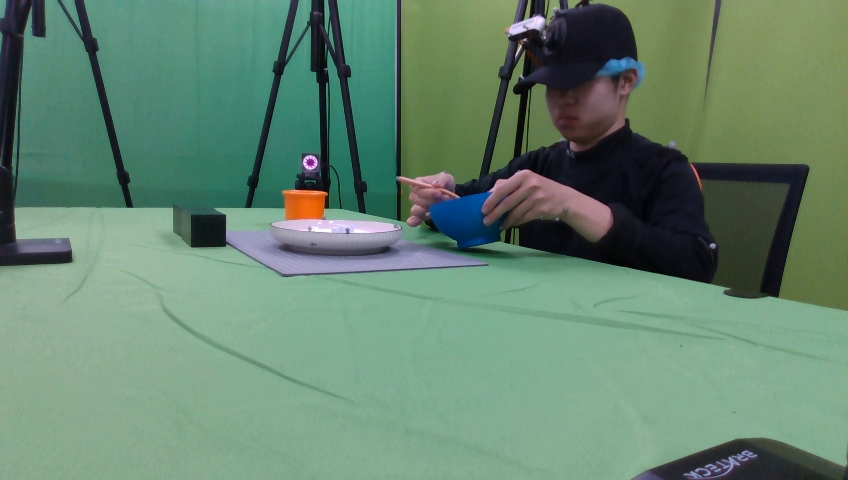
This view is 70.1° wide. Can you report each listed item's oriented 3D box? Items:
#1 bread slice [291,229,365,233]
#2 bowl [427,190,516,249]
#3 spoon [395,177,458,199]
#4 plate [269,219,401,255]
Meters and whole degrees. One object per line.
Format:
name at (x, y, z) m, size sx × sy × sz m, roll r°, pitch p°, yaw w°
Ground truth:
bread slice at (-0.143, -0.003, 0.953) m, size 0.135 × 0.018 × 0.106 m, roll -1°, pitch 8°, yaw -37°
bowl at (0.085, -0.030, 1.012) m, size 0.151 × 0.076 × 0.151 m, roll -10°, pitch -3°, yaw 0°
spoon at (0.042, -0.073, 1.017) m, size 0.193 × 0.021 × 0.042 m, roll 23°, pitch 19°, yaw 7°
plate at (-0.140, -0.006, 0.958) m, size 0.209 × 0.038 × 0.209 m, roll 3°, pitch 7°, yaw 0°
